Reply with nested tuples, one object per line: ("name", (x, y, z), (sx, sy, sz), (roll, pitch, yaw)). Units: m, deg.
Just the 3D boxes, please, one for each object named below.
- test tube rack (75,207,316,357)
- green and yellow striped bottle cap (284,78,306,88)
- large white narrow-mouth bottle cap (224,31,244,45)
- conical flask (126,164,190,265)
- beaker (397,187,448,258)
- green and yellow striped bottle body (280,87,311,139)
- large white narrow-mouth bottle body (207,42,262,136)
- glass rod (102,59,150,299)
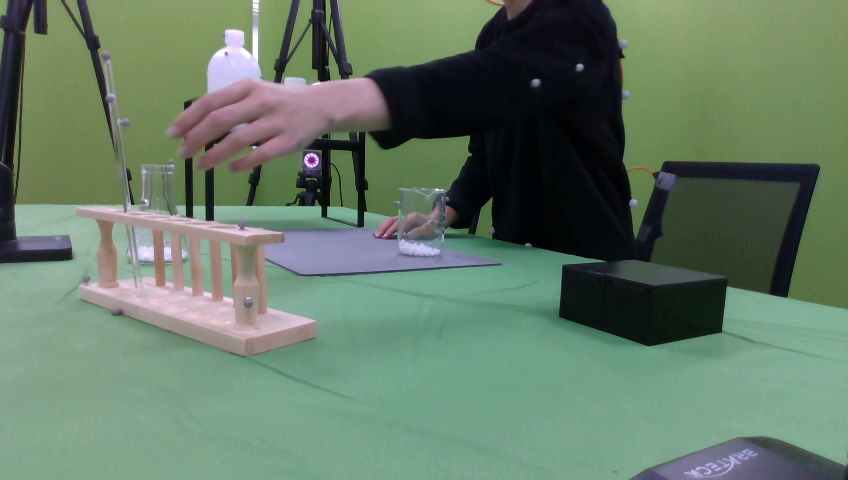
("test tube rack", (-0.196, 0.023, 0.499), (0.241, 0.085, 0.067), (7, 9, 36))
("green and yellow striped bottle cap", (-0.268, -0.325, 1.259), (0.045, 0.020, 0.045), (5, 7, 0))
("large white narrow-mouth bottle cap", (-0.365, -0.389, 1.166), (0.038, 0.024, 0.037), (2, 9, 0))
("conical flask", (-0.332, -0.033, 0.756), (0.075, 0.122, 0.075), (2, 8, 0))
("beaker", (-0.002, -0.026, 0.890), (0.074, 0.100, 0.084), (0, 8, -12))
("green and yellow striped bottle body", (-0.269, -0.274, 1.266), (0.063, 0.119, 0.063), (3, 7, 0))
("large white narrow-mouth bottle body", (-0.369, -0.303, 1.180), (0.102, 0.194, 0.102), (2, 9, 0))
("glass rod", (-0.244, -0.045, 0.496), (0.008, 0.199, 0.008), (-3, 12, 1))
